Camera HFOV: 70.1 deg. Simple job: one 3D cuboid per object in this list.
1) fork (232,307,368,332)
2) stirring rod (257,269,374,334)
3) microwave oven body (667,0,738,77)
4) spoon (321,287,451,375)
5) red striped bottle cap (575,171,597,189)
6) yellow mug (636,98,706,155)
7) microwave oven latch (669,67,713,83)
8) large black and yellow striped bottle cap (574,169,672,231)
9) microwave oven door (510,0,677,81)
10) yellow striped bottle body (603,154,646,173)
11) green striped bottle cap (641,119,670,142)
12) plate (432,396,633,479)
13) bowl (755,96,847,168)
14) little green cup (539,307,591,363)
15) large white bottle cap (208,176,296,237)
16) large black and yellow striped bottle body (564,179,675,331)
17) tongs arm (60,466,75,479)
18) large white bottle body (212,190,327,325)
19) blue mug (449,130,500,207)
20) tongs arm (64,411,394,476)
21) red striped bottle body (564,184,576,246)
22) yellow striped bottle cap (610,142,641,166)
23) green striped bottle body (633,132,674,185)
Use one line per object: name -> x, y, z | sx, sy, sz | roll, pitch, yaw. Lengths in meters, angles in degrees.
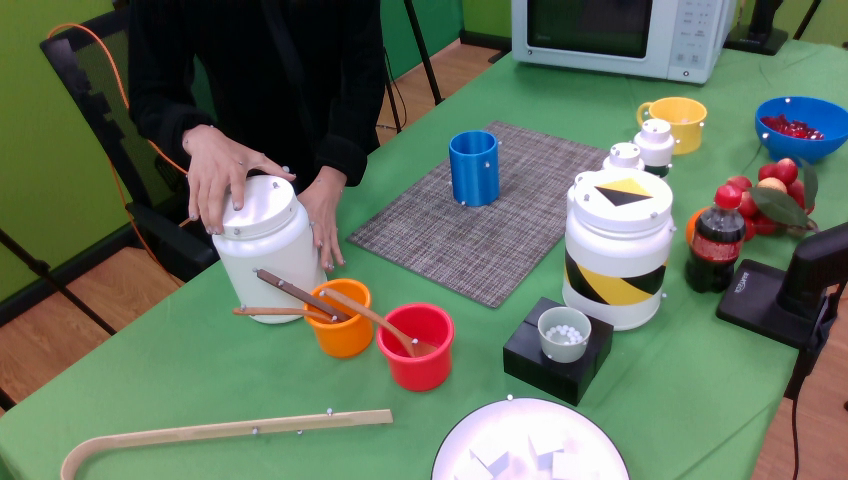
fork -> -0.152, 0.101, 0.781 | 0.209, 0.018, 0.028 | 18, 19, -46
stirring rod -> -0.143, 0.084, 0.808 | 0.177, 0.006, 0.014 | 30, 44, -19
microwave oven body -> 0.462, -0.552, 1.369 | 0.439, 0.261, 0.326 | 15, 45, 26
spoon -> -0.046, 0.111, 0.757 | 0.194, 0.021, 0.041 | 38, 47, -15
red striped bottle cap -> 0.242, -0.081, 0.876 | 0.044, 0.018, 0.044 | -5, 44, 6
yellow mug -> 0.453, -0.217, 1.128 | 0.100, 0.064, 0.129 | -34, 46, -27
microwave oven latch -> 0.556, -0.348, 1.262 | 0.078, 0.029, 0.030 | 15, 46, 26
large black and yellow striped bottle cap -> 0.242, -0.051, 0.738 | 0.115, 0.019, 0.114 | -4, 37, 3
microwave oven door -> 0.353, -0.478, 1.290 | 0.353, 0.245, 0.039 | 15, 45, 25
yellow striped bottle body -> 0.314, -0.091, 0.957 | 0.063, 0.121, 0.062 | -4, 40, 4
green striped bottle cap -> 0.371, -0.175, 0.968 | 0.044, 0.020, 0.044 | -6, 42, 6
plate -> 0.112, 0.261, 0.634 | 0.209, 0.038, 0.208 | -5, 40, 4
bowl -> 0.645, -0.177, 1.041 | 0.151, 0.077, 0.150 | -5, 40, 4
little green cup -> 0.167, 0.114, 0.721 | 0.061, 0.039, 0.061 | -4, 43, 4
large white bottle cap -> -0.230, -0.047, 0.809 | 0.115, 0.018, 0.114 | -3, 41, 3
large black and yellow striped bottle body -> 0.253, 0.014, 0.793 | 0.131, 0.185, 0.130 | -5, 40, 4
tongs arm -> -0.239, 0.301, 0.649 | 0.386, 0.028, 0.028 | 6, 49, 16
large white bottle body -> -0.220, 0.017, 0.864 | 0.130, 0.185, 0.130 | -4, 40, 4
blue mug -> 0.089, -0.132, 1.049 | 0.082, 0.106, 0.116 | 0, 40, 9
tongs arm -> -0.228, 0.240, 0.715 | 0.385, 0.026, 0.050 | -5, 44, 5
red striped bottle body -> 0.247, -0.041, 0.910 | 0.063, 0.120, 0.062 | -3, 39, 3
yellow striped bottle cap -> 0.309, -0.131, 0.925 | 0.044, 0.019, 0.044 | -4, 45, 5
green striped bottle body -> 0.376, -0.135, 1.001 | 0.063, 0.120, 0.063 | -5, 41, 5
